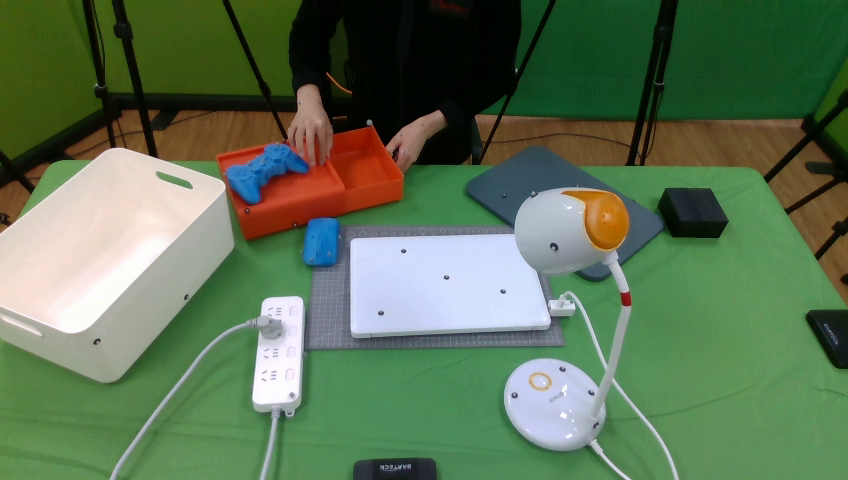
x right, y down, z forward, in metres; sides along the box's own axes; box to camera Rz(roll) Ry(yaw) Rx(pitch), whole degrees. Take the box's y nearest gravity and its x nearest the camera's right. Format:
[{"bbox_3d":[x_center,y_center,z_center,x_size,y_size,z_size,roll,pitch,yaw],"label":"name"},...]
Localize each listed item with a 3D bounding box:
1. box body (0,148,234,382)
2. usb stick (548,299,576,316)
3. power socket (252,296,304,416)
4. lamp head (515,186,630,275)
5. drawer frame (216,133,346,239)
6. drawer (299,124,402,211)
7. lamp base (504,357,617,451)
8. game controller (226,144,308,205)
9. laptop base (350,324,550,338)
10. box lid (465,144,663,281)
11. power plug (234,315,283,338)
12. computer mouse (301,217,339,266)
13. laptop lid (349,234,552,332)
[{"bbox_3d":[-0.525,0.033,1.027,0.254,0.161,0.362,18,47,13],"label":"box body"},{"bbox_3d":[0.239,0.121,1.084,0.059,0.027,0.021,-1,52,-1],"label":"usb stick"},{"bbox_3d":[-0.238,0.182,0.997,0.072,0.033,0.225,-3,47,-5],"label":"power socket"},{"bbox_3d":[0.188,-0.013,0.728,0.112,0.112,0.122,-25,9,-25],"label":"lamp head"},{"bbox_3d":[-0.291,-0.115,1.244,0.214,0.083,0.200,-18,51,-20],"label":"drawer frame"},{"bbox_3d":[-0.176,-0.149,1.288,0.212,0.073,0.193,-15,50,-18],"label":"drawer"},{"bbox_3d":[0.220,0.211,0.903,0.160,0.181,0.178,-33,59,-30],"label":"lamp base"},{"bbox_3d":[-0.314,-0.138,1.194,0.096,0.052,0.155,30,50,26],"label":"game controller"},{"bbox_3d":[0.039,0.081,1.124,0.355,0.023,0.234,-2,43,-6],"label":"laptop base"},{"bbox_3d":[0.297,-0.072,1.298,0.263,0.015,0.369,-33,56,-31],"label":"box lid"},{"bbox_3d":[-0.270,0.143,1.000,0.072,0.053,0.035,5,47,2],"label":"power plug"},{"bbox_3d":[-0.199,-0.001,1.169,0.063,0.041,0.116,4,50,-3],"label":"computer mouse"},{"bbox_3d":[0.040,0.071,1.117,0.357,0.013,0.240,0,44,-5],"label":"laptop lid"}]
